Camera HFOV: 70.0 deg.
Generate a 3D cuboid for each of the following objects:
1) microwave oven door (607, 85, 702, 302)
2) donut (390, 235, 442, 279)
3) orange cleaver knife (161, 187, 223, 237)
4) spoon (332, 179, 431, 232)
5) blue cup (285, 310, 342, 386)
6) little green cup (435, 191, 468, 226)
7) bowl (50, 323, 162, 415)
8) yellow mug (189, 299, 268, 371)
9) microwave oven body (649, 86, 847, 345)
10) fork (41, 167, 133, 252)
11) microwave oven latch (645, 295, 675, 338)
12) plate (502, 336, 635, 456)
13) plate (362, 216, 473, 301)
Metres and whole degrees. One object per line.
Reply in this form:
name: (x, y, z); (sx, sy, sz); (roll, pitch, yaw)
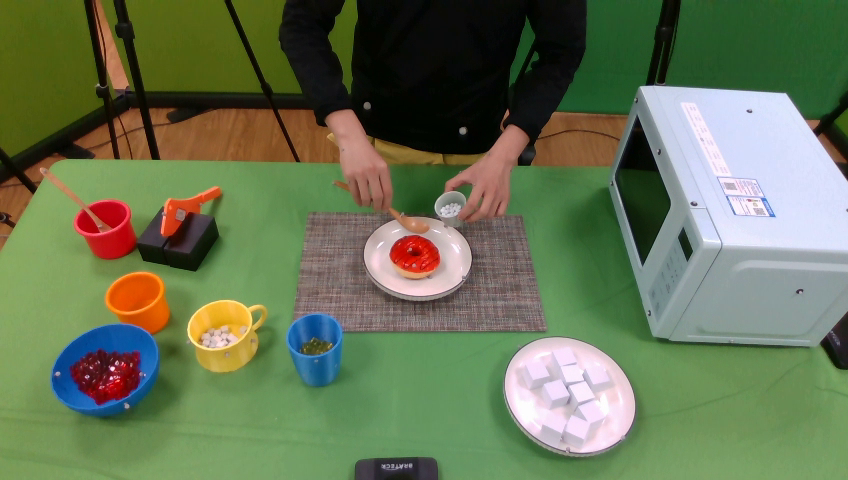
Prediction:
microwave oven door: (0.423, -0.094, 1.141); (0.039, 0.245, 0.353); (2, 46, -1)
donut: (-0.015, 0.032, 1.134); (0.099, 0.048, 0.098); (3, 44, -3)
orange cleaver knife: (-0.448, -0.058, 1.181); (0.012, 0.077, 0.211); (13, 17, 6)
spoon: (-0.075, -0.064, 1.080); (0.194, 0.022, 0.041); (30, 34, -12)
blue cup: (-0.170, 0.179, 0.958); (0.093, 0.101, 0.092); (2, 44, -1)
little green cup: (0.054, -0.057, 1.128); (0.061, 0.039, 0.061); (-8, 57, 13)
bowl: (-0.472, 0.209, 0.924); (0.151, 0.077, 0.150); (2, 45, -2)
yellow mug: (-0.316, 0.148, 1.002); (0.131, 0.064, 0.099); (-32, 56, -31)
microwave oven body: (0.568, -0.053, 1.118); (0.326, 0.261, 0.439); (2, 45, -1)
fork: (-0.624, -0.056, 1.121); (0.208, 0.018, 0.028); (49, 51, -15)
microwave oven latch: (0.412, 0.134, 1.061); (0.030, 0.029, 0.078); (3, 45, 0)
plate: (0.225, 0.248, 0.963); (0.208, 0.039, 0.206); (2, 46, -2)
plate: (-0.012, 0.038, 1.144); (0.209, 0.038, 0.208); (2, 46, -2)
